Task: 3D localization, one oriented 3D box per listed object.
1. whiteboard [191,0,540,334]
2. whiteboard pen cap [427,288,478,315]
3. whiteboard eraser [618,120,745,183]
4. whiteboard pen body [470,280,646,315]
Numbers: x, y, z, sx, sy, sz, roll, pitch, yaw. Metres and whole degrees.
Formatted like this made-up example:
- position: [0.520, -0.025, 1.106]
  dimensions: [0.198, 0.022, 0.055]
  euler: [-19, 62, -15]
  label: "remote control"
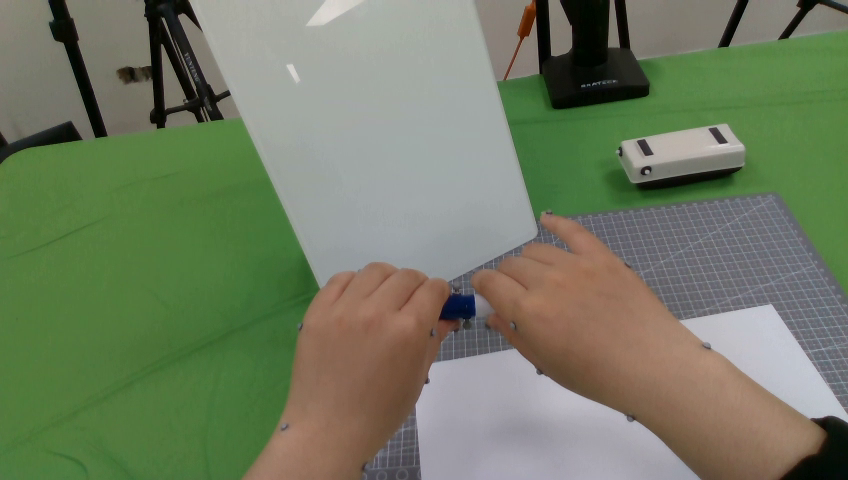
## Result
- position: [-0.051, -0.111, 0.571]
  dimensions: [0.217, 0.307, 0.142]
  euler: [-25, 23, -13]
  label: "whiteboard"
- position: [0.019, 0.041, 0.401]
  dimensions: [0.033, 0.018, 0.018]
  euler: [-3, 42, 4]
  label: "whiteboard pen cap"
- position: [0.263, -0.089, 0.624]
  dimensions: [0.112, 0.042, 0.055]
  euler: [-8, 44, 4]
  label: "whiteboard eraser"
- position: [0.077, 0.039, 0.405]
  dimensions: [0.141, 0.017, 0.017]
  euler: [-4, 41, -2]
  label: "whiteboard pen body"
